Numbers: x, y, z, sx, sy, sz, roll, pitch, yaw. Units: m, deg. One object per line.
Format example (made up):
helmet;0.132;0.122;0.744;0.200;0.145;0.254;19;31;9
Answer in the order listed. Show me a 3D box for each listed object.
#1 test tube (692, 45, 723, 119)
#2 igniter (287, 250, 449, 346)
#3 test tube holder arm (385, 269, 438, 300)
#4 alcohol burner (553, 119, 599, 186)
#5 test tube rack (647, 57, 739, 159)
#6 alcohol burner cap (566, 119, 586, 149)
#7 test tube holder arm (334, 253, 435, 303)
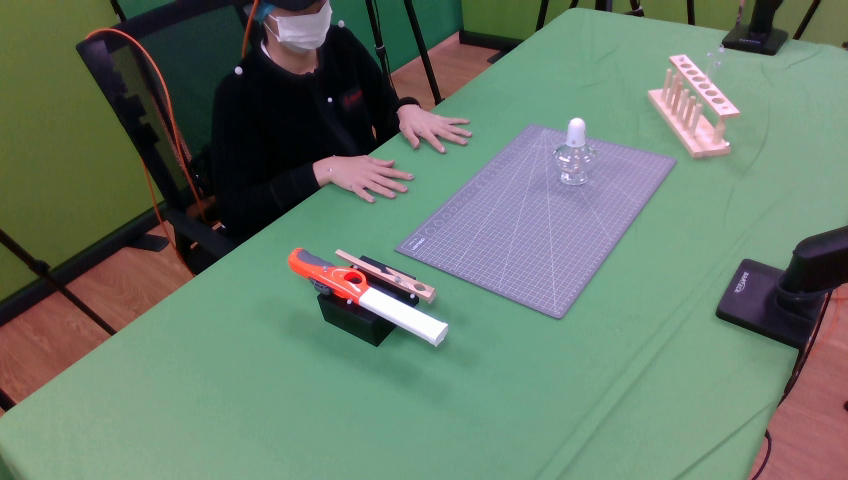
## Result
test tube;0.517;-0.285;1.106;0.017;0.151;0.017;-2;46;3
igniter;-0.087;0.073;0.825;0.274;0.025;0.057;23;48;28
test tube holder arm;-0.020;0.060;0.834;0.087;0.015;0.010;20;55;30
alcohol burner;0.261;-0.153;1.042;0.078;0.119;0.077;-6;40;6
test tube rack;0.504;-0.257;1.153;0.067;0.085;0.241;-8;40;1
alcohol burner cap;0.257;-0.180;1.018;0.034;0.048;0.033;-4;36;4
test tube holder arm;-0.060;0.051;0.853;0.177;0.015;0.013;19;54;29
